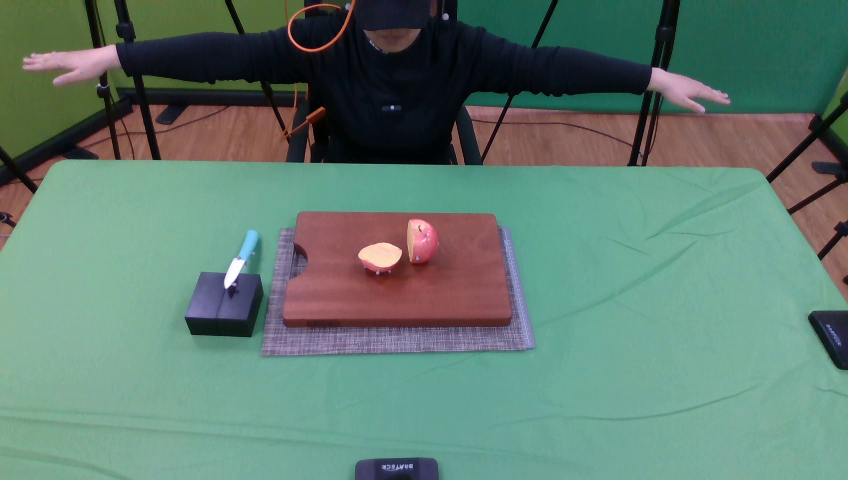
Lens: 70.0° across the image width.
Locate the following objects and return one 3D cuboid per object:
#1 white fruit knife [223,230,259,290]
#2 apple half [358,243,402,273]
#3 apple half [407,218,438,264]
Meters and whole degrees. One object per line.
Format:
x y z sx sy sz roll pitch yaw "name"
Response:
-0.333 0.034 1.106 0.027 0.016 0.206 2 29 -2 "white fruit knife"
-0.078 0.038 1.109 0.081 0.033 0.081 1 30 0 "apple half"
-0.001 0.003 1.120 0.053 0.075 0.080 -1 42 -11 "apple half"
